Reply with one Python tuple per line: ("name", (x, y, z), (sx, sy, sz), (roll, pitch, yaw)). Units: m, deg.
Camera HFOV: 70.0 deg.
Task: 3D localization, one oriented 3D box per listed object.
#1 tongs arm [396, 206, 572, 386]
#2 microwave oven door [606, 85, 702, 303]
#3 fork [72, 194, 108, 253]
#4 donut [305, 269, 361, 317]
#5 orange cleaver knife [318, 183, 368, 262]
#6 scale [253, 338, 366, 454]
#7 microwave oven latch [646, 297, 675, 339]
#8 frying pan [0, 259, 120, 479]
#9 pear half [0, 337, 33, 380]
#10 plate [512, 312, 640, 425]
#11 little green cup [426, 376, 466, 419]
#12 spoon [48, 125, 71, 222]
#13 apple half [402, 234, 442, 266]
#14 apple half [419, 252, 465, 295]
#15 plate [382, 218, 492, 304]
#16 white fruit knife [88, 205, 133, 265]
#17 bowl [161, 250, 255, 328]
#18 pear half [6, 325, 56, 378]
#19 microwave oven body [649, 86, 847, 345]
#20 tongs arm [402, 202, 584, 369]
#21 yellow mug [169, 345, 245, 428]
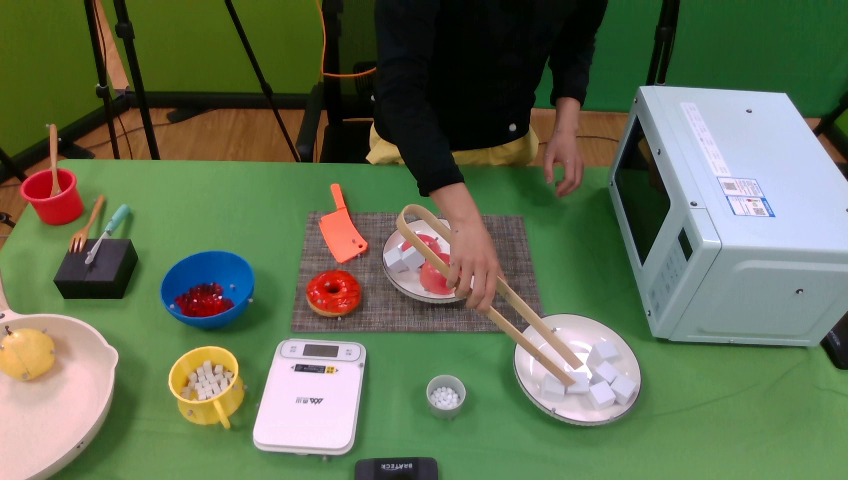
("tongs arm", (0.091, 0.091, 0.967), (0.387, 0.028, 0.028), (44, 56, 4))
("microwave oven door", (0.423, -0.094, 1.140), (0.039, 0.245, 0.353), (2, 46, -1))
("fork", (-0.634, -0.036, 1.158), (0.028, 0.019, 0.206), (-8, 32, -8))
("donut", (-0.160, 0.094, 1.075), (0.099, 0.048, 0.098), (4, 46, -3))
("orange cleaver knife", (-0.173, -0.037, 1.218), (0.077, 0.012, 0.210), (-16, 50, -12))
("scale", (-0.175, 0.236, 0.951), (0.149, 0.032, 0.199), (4, 46, -1))
("microwave oven latch", (0.412, 0.134, 1.061), (0.030, 0.029, 0.078), (4, 45, 1))
("frying pan", (-0.647, 0.164, 0.936), (0.307, 0.103, 0.485), (-19, 58, -22))
("pear half", (-0.631, 0.184, 0.921), (0.070, 0.088, 0.031), (29, 49, 19))
("plate", (0.246, 0.213, 0.999), (0.208, 0.039, 0.206), (2, 46, -2))
("little green cup", (0.033, 0.248, 0.950), (0.061, 0.039, 0.061), (2, 46, -2))
("spoon", (-0.718, -0.131, 1.188), (0.041, 0.021, 0.193), (-3, 90, -7))
("apple half", (-0.004, 0.013, 1.159), (0.081, 0.033, 0.081), (5, 44, -4))
("apple half", (0.035, 0.056, 1.109), (0.074, 0.053, 0.081), (37, 55, 25))
("plate", (0.023, 0.042, 1.143), (0.209, 0.038, 0.208), (2, 46, -2))
("white fruit knife", (-0.584, -0.013, 1.129), (0.016, 0.027, 0.206), (0, 31, -5))
("bowl", (-0.362, 0.098, 1.039), (0.151, 0.077, 0.150), (2, 45, -2))
("pear half", (-0.608, 0.158, 0.935), (0.076, 0.110, 0.056), (31, 51, 19))
("microwave oven body", (0.567, -0.053, 1.118), (0.326, 0.261, 0.439), (2, 45, -1))
("tongs arm", (0.107, 0.076, 0.985), (0.384, 0.026, 0.050), (47, 53, 6))
("yellow mug", (-0.322, 0.230, 0.922), (0.100, 0.064, 0.130), (-24, 53, -25))
